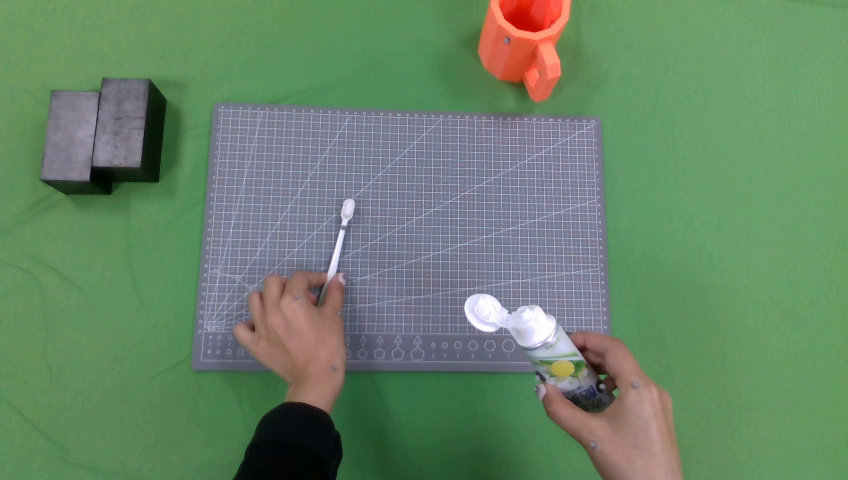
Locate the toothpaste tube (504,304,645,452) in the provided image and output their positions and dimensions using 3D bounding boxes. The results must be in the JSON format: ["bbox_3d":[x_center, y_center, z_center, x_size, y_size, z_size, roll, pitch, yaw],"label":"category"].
[{"bbox_3d":[0.117,0.113,0.491,0.055,0.034,0.166,-29,112,24],"label":"toothpaste tube"}]

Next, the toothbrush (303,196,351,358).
[{"bbox_3d":[-0.104,0.037,0.656,0.014,0.016,0.181,16,79,-16],"label":"toothbrush"}]

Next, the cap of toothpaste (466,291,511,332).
[{"bbox_3d":[0.051,0.055,0.477,0.037,0.011,0.037,11,55,-16],"label":"cap of toothpaste"}]

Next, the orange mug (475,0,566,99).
[{"bbox_3d":[0.113,-0.228,0.685,0.083,0.101,0.125,-20,76,-7],"label":"orange mug"}]
